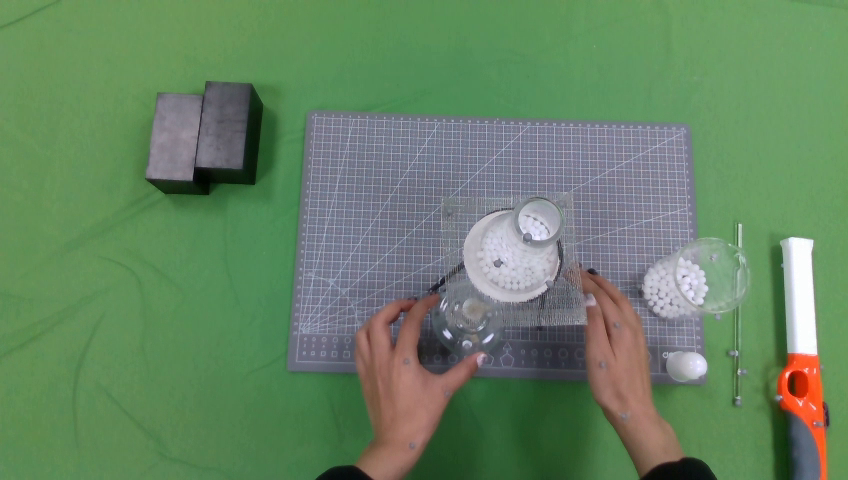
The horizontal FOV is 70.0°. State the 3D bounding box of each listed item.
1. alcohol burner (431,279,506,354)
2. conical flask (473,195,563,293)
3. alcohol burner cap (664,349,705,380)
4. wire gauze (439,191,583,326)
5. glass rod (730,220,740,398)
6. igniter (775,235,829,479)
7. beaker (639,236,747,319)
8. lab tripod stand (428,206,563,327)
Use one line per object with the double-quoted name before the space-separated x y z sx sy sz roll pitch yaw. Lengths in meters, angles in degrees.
"alcohol burner" 0.046 0.074 0.607 0.078 0.119 0.077 0 75 -1
"conical flask" 0.080 -0.001 0.486 0.075 0.122 0.075 0 77 0
"alcohol burner cap" 0.276 0.130 0.636 0.034 0.048 0.033 0 77 -1
"wire gauze" 0.078 0.016 0.543 0.125 0.011 0.121 -1 80 -4
"glass rod" 0.345 0.073 0.672 0.008 0.008 0.199 6 77 0
"igniter" 0.403 0.131 0.649 0.057 0.025 0.275 7 78 -10
"beaker" 0.274 0.041 0.627 0.084 0.100 0.073 -34 80 -9
"lab tripod stand" 0.077 0.028 0.608 0.148 0.132 0.147 0 79 0
